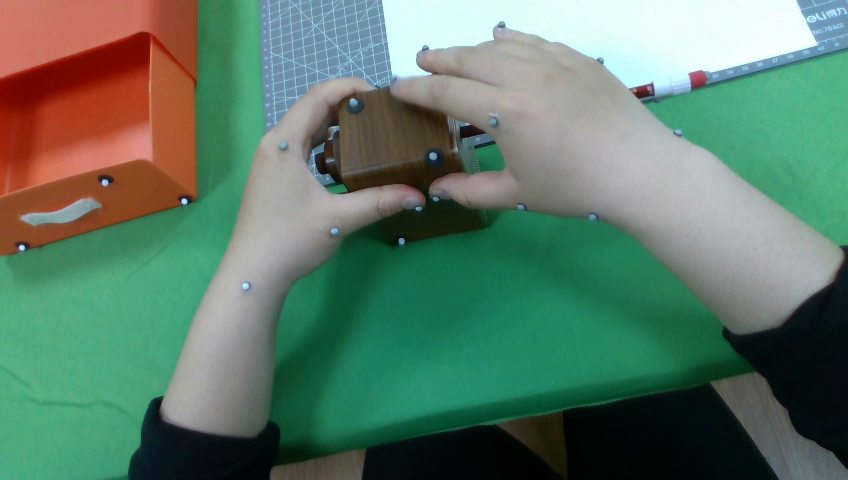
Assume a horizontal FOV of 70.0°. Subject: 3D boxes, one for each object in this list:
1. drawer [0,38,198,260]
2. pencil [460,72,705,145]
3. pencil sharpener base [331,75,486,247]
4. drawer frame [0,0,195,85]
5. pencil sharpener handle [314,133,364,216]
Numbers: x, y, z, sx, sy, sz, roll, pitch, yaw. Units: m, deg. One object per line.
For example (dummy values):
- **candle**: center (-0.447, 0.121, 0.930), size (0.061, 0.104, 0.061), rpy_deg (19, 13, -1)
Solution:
- **drawer**: center (-0.297, -0.107, 0.514), size (0.194, 0.074, 0.210), rpy_deg (-15, 65, 9)
- **pencil**: center (0.064, -0.070, 0.356), size (0.194, 0.012, 0.012), rpy_deg (-12, 66, 9)
- **pencil sharpener base**: center (-0.007, -0.045, 0.396), size (0.076, 0.108, 0.061), rpy_deg (-12, 65, 11)
- **drawer frame**: center (-0.317, -0.212, 0.560), size (0.201, 0.083, 0.211), rpy_deg (-15, 65, 9)
- **pencil sharpener handle**: center (-0.059, -0.038, 0.393), size (0.030, 0.068, 0.035), rpy_deg (-12, 57, 11)
